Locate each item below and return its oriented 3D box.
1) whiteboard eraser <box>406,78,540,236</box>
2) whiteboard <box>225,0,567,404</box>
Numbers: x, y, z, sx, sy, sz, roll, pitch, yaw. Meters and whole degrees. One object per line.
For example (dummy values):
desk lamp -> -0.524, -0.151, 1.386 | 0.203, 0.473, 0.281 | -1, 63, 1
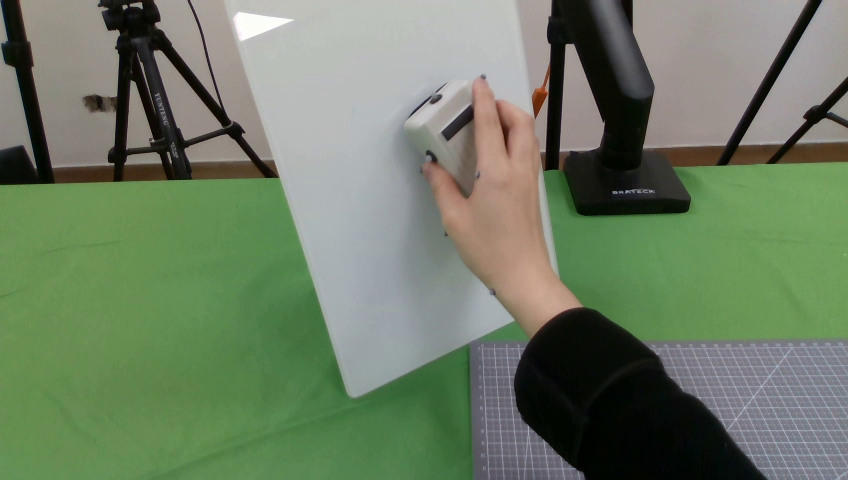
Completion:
whiteboard eraser -> 0.037, -0.060, 0.453 | 0.055, 0.113, 0.041 | -46, 27, -15
whiteboard -> -0.027, -0.063, 0.516 | 0.217, 0.307, 0.142 | -22, 21, -22
